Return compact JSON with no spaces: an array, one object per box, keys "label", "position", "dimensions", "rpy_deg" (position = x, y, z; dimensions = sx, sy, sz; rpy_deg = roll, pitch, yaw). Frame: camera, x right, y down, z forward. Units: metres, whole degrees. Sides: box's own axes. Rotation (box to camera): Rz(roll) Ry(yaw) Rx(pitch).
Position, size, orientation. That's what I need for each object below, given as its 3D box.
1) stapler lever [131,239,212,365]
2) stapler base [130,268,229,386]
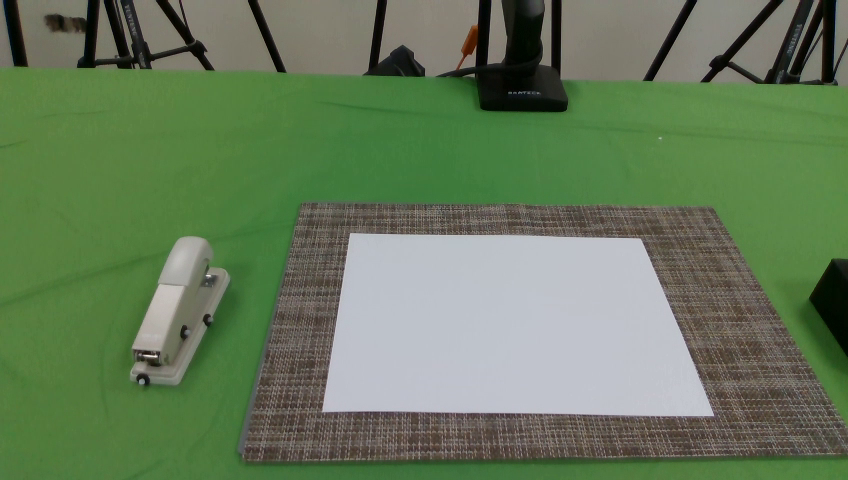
[{"label":"stapler lever","position":[-0.206,0.046,0.498],"dimensions":[0.027,0.040,0.117],"rpy_deg":[3,42,4]},{"label":"stapler base","position":[-0.206,0.064,0.516],"dimensions":[0.041,0.024,0.129],"rpy_deg":[3,42,4]}]
